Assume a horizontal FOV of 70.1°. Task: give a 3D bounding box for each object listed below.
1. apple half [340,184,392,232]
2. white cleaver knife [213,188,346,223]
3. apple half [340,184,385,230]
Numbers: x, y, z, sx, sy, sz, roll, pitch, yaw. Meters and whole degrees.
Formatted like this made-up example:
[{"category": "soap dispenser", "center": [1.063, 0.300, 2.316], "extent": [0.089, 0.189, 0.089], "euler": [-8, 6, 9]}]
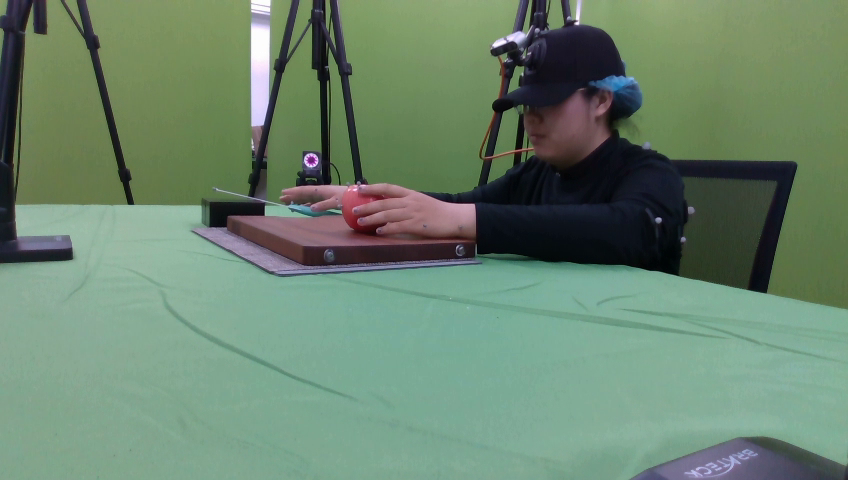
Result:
[{"category": "apple half", "center": [-0.084, -0.048, 0.936], "extent": [0.081, 0.074, 0.053], "euler": [0, 12, -32]}, {"category": "white cleaver knife", "center": [-0.280, -0.067, 1.227], "extent": [0.288, 0.021, 0.065], "euler": [11, 6, -29]}, {"category": "apple half", "center": [-0.104, -0.055, 0.969], "extent": [0.082, 0.081, 0.032], "euler": [-2, 13, -32]}]
